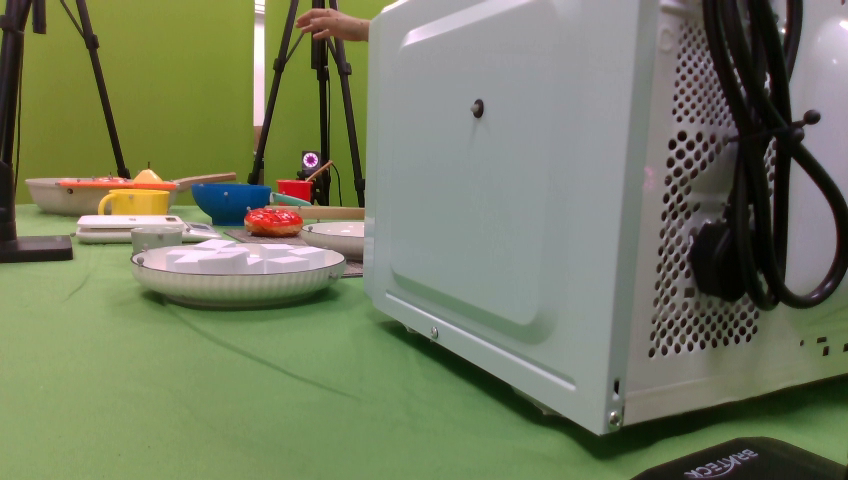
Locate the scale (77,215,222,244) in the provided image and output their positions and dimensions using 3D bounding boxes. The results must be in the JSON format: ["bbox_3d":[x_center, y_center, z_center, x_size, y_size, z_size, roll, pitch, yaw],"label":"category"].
[{"bbox_3d":[-0.434,-0.019,0.963,0.202,0.031,0.148,-1,9,-27],"label":"scale"}]

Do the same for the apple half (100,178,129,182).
[{"bbox_3d":[-0.639,-0.092,1.265,0.053,0.074,0.081,7,4,9],"label":"apple half"}]

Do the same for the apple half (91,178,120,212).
[{"bbox_3d":[-0.677,-0.096,1.271,0.033,0.081,0.081,7,8,10],"label":"apple half"}]

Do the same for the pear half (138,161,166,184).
[{"bbox_3d":[-0.602,-0.120,1.354,0.056,0.110,0.076,4,11,5],"label":"pear half"}]

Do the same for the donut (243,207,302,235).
[{"bbox_3d":[-0.261,-0.032,1.043,0.099,0.048,0.099,4,9,0],"label":"donut"}]

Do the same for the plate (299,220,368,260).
[{"bbox_3d":[-0.078,-0.001,0.890,0.209,0.038,0.209,2,8,0],"label":"plate"}]

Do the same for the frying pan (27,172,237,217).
[{"bbox_3d":[-0.624,-0.118,1.387,0.305,0.102,0.490,8,18,32],"label":"frying pan"}]

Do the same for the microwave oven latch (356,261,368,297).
[{"bbox_3d":[-0.020,0.033,0.531,0.079,0.029,0.030,-1,7,-27],"label":"microwave oven latch"}]

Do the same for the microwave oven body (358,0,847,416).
[{"bbox_3d":[0.211,-0.047,0.475,0.444,0.260,0.324,-1,8,-28],"label":"microwave oven body"}]

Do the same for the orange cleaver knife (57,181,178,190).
[{"bbox_3d":[-0.600,-0.109,1.189,0.212,0.012,0.077,-1,11,-26],"label":"orange cleaver knife"}]

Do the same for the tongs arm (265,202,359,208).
[{"bbox_3d":[-0.209,-0.071,1.439,0.389,0.027,0.028,1,1,-17],"label":"tongs arm"}]

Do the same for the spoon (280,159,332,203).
[{"bbox_3d":[-0.316,-0.159,1.640,0.194,0.022,0.041,-50,31,-20],"label":"spoon"}]

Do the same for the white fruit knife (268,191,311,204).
[{"bbox_3d":[-0.364,-0.105,1.464,0.208,0.027,0.016,15,0,-34],"label":"white fruit knife"}]

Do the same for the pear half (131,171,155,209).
[{"bbox_3d":[-0.637,-0.113,1.360,0.031,0.088,0.070,5,11,4],"label":"pear half"}]

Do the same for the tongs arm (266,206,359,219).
[{"bbox_3d":[-0.173,-0.061,1.362,0.387,0.026,0.050,-1,5,-31],"label":"tongs arm"}]

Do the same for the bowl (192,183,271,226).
[{"bbox_3d":[-0.382,-0.070,1.202,0.151,0.077,0.151,3,7,0],"label":"bowl"}]

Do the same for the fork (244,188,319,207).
[{"bbox_3d":[-0.356,-0.105,1.526,0.208,0.018,0.028,16,-5,-41],"label":"fork"}]

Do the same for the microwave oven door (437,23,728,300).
[{"bbox_3d":[0.180,-0.072,0.621,0.358,0.243,0.039,-2,9,-29],"label":"microwave oven door"}]

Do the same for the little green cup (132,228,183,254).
[{"bbox_3d":[-0.342,0.006,0.779,0.061,0.038,0.061,2,8,0],"label":"little green cup"}]

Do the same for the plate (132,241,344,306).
[{"bbox_3d":[-0.187,0.033,0.625,0.208,0.039,0.207,2,8,0],"label":"plate"}]

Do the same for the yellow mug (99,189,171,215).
[{"bbox_3d":[-0.519,-0.055,1.080,0.099,0.064,0.131,7,10,26],"label":"yellow mug"}]
